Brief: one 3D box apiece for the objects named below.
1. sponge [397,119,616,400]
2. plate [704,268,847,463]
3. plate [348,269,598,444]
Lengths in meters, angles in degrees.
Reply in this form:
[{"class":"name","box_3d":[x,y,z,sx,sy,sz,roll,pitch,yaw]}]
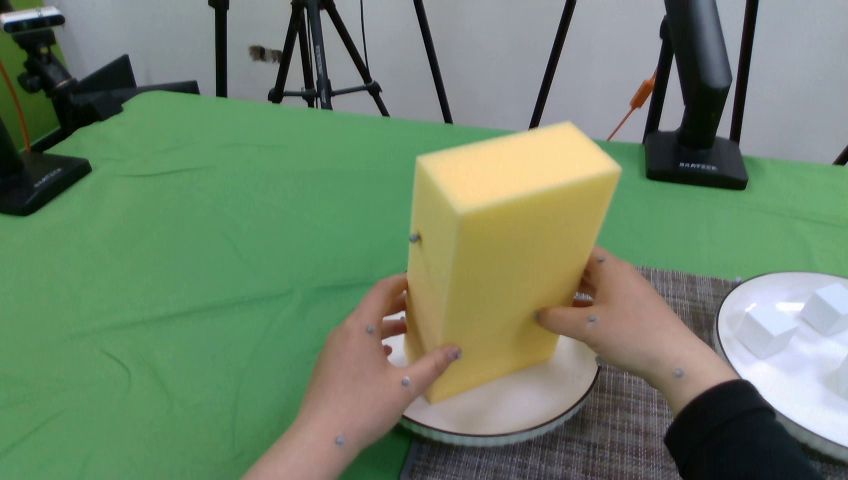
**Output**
[{"class":"sponge","box_3d":[0.049,0.023,0.449,0.118,0.208,0.060,-15,49,-21]},{"class":"plate","box_3d":[0.338,0.103,0.499,0.208,0.039,0.205,0,37,0]},{"class":"plate","box_3d":[0.041,0.090,0.519,0.209,0.038,0.207,0,37,0]}]
